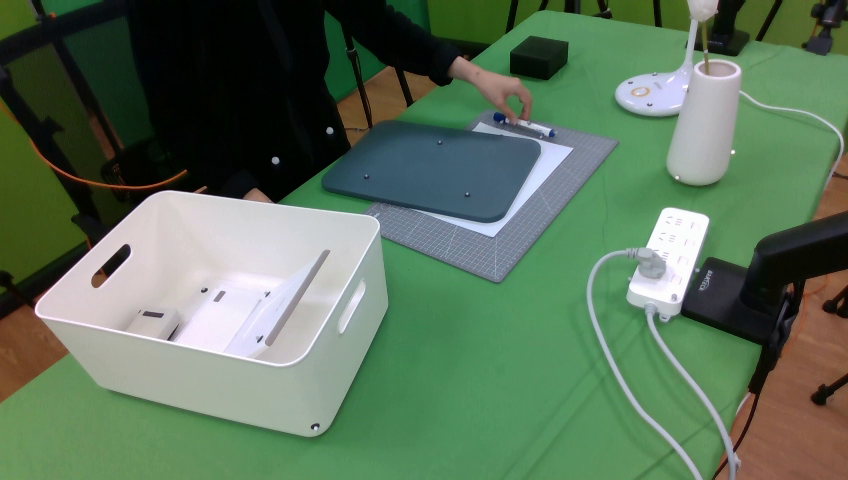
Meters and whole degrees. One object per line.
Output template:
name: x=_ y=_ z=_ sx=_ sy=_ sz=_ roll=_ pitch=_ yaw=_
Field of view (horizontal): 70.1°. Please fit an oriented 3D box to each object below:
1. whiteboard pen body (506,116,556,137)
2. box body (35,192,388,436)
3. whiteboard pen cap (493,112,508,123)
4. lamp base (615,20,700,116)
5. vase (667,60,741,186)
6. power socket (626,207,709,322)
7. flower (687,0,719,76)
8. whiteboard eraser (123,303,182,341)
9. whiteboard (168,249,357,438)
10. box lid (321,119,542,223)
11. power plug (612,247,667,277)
whiteboard pen body: x=0.203 y=-0.232 z=1.213 sx=0.139 sy=0.017 sz=0.017 roll=28 pitch=51 yaw=36
box body: x=-0.251 y=0.088 z=0.800 sx=0.362 sy=0.161 sz=0.254 roll=7 pitch=42 yaw=16
whiteboard pen cap: x=0.161 y=-0.252 z=1.248 sx=0.033 sy=0.018 sz=0.018 roll=28 pitch=51 yaw=35
lamp base: x=0.484 y=-0.364 z=1.211 sx=0.180 sy=0.181 sz=0.159 roll=-15 pitch=41 yaw=-14
vase: x=0.463 y=-0.189 z=0.994 sx=0.098 sy=0.201 sz=0.097 roll=-4 pitch=40 yaw=4
power socket: x=0.360 y=0.026 z=0.886 sx=0.072 sy=0.033 sz=0.227 roll=17 pitch=46 yaw=27
flower: x=0.436 y=-0.242 z=0.934 sx=0.038 sy=0.364 sz=0.043 roll=-24 pitch=49 yaw=8
whiteboard eraser: x=-0.385 y=0.139 z=0.828 sx=0.055 sy=0.042 sz=0.112 roll=10 pitch=41 yaw=8
whiteboard: x=-0.242 y=0.100 z=0.799 sx=0.304 sy=0.144 sz=0.217 roll=8 pitch=43 yaw=15
box lid: x=0.017 y=-0.141 z=1.145 sx=0.369 sy=0.015 sz=0.263 roll=12 pitch=44 yaw=22
power plug: x=0.306 y=0.031 z=0.852 sx=0.072 sy=0.053 sz=0.035 roll=21 pitch=48 yaw=38
